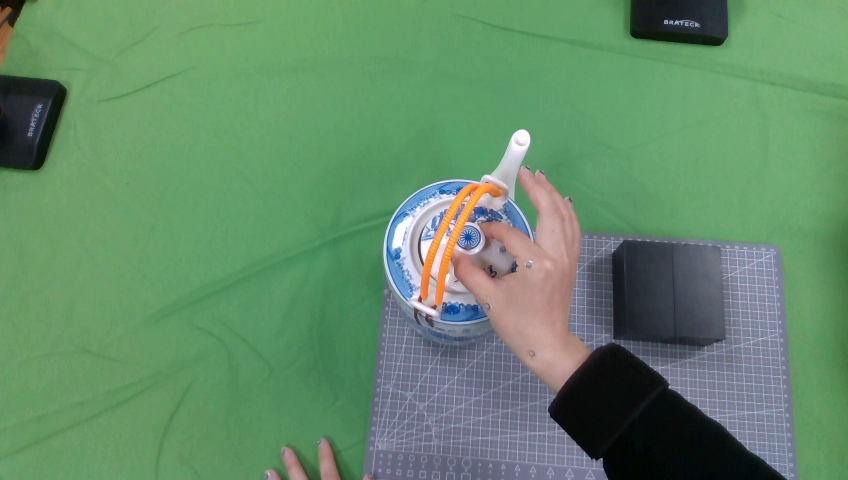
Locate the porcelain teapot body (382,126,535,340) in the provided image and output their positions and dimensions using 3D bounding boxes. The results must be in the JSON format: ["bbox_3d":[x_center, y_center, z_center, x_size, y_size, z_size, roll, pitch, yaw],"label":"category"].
[{"bbox_3d":[0.046,-0.012,0.593,0.145,0.226,0.205,26,75,9],"label":"porcelain teapot body"}]

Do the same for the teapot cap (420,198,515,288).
[{"bbox_3d":[0.038,0.000,0.531,0.085,0.044,0.084,-2,70,6],"label":"teapot cap"}]
